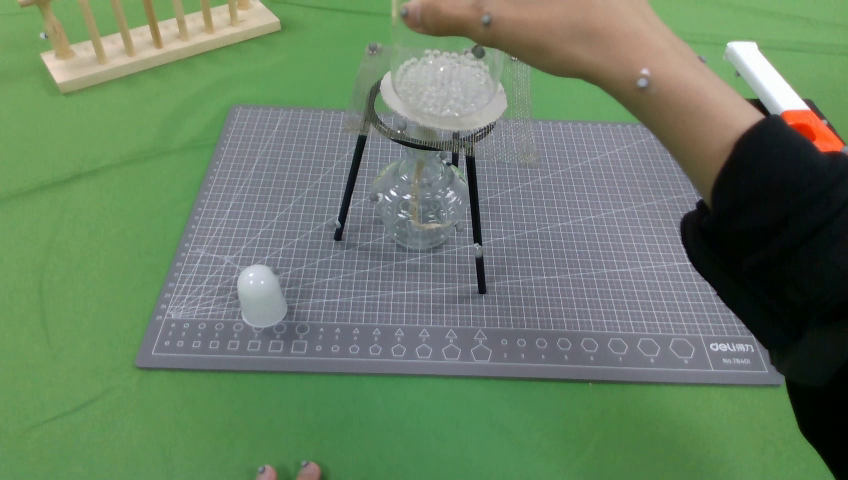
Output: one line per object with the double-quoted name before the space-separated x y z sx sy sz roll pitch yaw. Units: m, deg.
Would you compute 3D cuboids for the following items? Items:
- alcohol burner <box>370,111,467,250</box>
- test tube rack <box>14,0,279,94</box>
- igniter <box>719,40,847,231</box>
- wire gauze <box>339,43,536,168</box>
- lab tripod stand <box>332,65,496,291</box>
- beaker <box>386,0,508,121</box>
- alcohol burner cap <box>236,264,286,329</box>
"alcohol burner" -0.004 -0.049 0.466 0.078 0.120 0.077 1 50 -1
"test tube rack" -0.284 -0.243 0.644 0.242 0.086 0.066 -27 56 -25
"igniter" 0.329 -0.103 0.538 0.057 0.025 0.273 -2 46 -2
"wire gauze" 0.013 -0.098 0.408 0.125 0.011 0.120 7 48 0
"lab tripod stand" 0.004 -0.047 0.453 0.148 0.132 0.147 4 48 -4
"beaker" 0.013 -0.128 0.361 0.074 0.101 0.083 -8 50 -9
"alcohol burner cap" -0.117 0.037 0.429 0.034 0.048 0.033 3 47 -3
